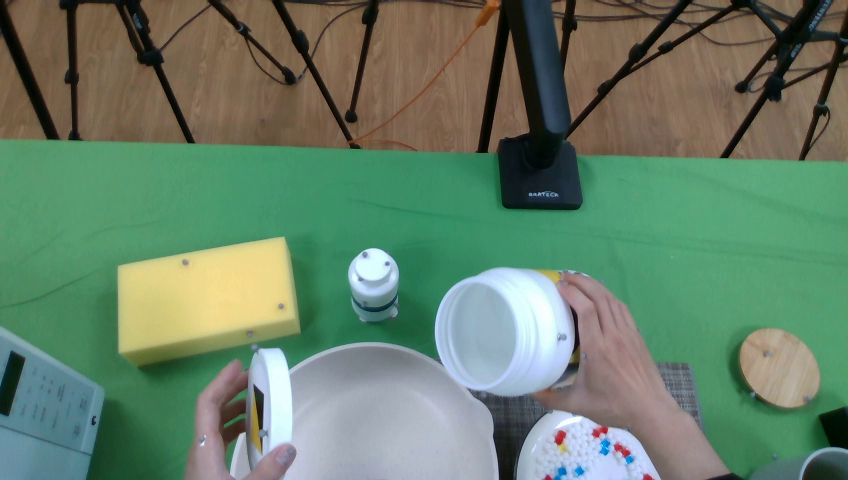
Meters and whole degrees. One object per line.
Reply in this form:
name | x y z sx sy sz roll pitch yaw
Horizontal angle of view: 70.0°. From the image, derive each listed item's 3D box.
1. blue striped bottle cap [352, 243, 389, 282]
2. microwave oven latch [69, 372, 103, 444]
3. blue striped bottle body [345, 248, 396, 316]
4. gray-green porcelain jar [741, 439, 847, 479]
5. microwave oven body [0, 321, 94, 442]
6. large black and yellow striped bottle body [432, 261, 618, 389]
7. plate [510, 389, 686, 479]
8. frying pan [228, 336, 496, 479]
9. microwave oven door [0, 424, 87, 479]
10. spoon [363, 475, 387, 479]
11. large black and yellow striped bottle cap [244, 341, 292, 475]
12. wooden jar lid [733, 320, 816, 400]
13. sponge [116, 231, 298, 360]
blue striped bottle cap | -0.064 0.026 0.723 0.044 0.021 0.044 1 61 -2
microwave oven latch | -0.395 0.194 0.699 0.030 0.030 0.078 2 65 -4
blue striped bottle body | -0.068 0.048 0.770 0.063 0.121 0.062 2 64 -4
gray-green porcelain jar | 0.436 0.289 0.690 0.106 0.127 0.105 2 64 -3
microwave oven body | -0.538 0.306 0.527 0.326 0.262 0.438 2 65 -4
large black and yellow striped bottle body | 0.109 0.088 0.649 0.185 0.131 0.129 4 55 -46
plate | 0.203 0.284 0.720 0.209 0.038 0.207 2 64 -3
frying pan | -0.025 0.338 0.639 0.307 0.103 0.483 -20 60 -12
microwave oven door | -0.393 0.346 0.514 0.039 0.245 0.353 1 64 -4
spoon | -0.101 0.325 0.646 0.041 0.022 0.193 44 42 9
large black and yellow striped bottle cap | -0.139 0.147 0.532 0.019 0.115 0.114 3 62 -26
wooden jar lid | 0.467 0.161 0.813 0.108 0.021 0.107 2 66 -3
sponge | -0.275 0.070 0.776 0.207 0.061 0.117 -11 66 -10
